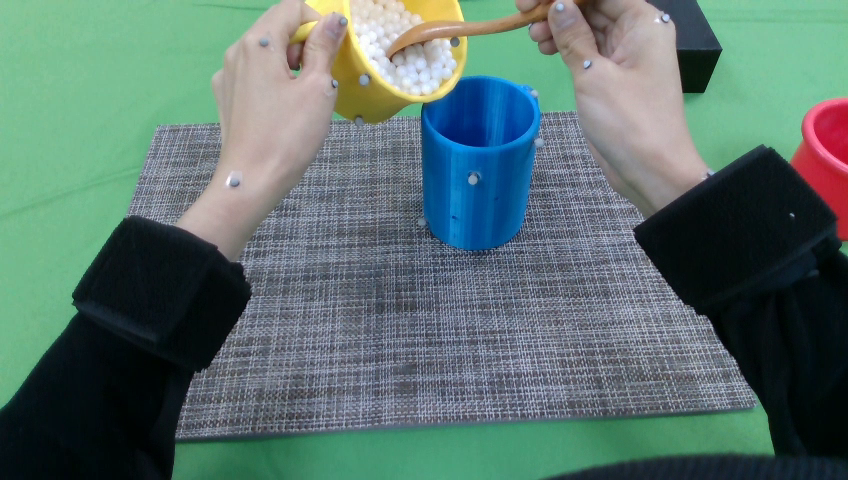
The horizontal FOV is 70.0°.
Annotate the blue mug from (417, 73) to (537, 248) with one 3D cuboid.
[{"bbox_3d":[0.048,-0.067,0.461,0.081,0.107,0.116,34,59,24],"label":"blue mug"}]

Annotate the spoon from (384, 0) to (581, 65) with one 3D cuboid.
[{"bbox_3d":[0.043,-0.131,0.360,0.192,0.022,0.041,3,27,45],"label":"spoon"}]

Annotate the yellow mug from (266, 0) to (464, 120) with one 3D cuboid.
[{"bbox_3d":[-0.042,-0.134,0.403,0.131,0.100,0.063,-18,7,-38],"label":"yellow mug"}]
